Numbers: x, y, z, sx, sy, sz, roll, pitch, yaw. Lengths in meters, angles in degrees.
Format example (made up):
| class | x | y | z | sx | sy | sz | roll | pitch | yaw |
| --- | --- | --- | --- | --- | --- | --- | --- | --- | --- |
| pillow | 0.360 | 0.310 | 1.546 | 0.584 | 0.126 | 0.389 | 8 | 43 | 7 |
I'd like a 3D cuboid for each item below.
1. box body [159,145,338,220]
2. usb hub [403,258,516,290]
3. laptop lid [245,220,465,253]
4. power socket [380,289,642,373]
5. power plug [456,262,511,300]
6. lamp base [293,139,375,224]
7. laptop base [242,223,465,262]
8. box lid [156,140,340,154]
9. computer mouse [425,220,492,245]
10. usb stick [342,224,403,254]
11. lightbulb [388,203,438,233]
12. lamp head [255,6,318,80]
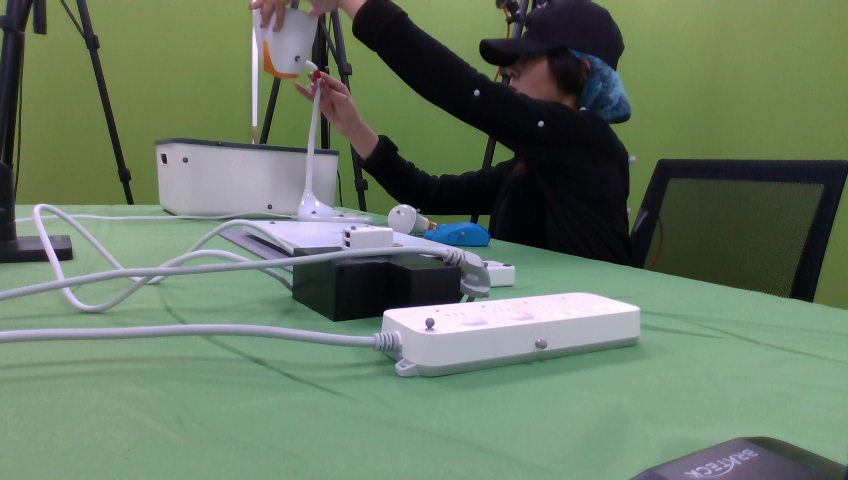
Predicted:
| class | x | y | z | sx | sy | sz | roll | pitch | yaw |
| --- | --- | --- | --- | --- | --- | --- | --- | --- | --- |
| box body | -0.410 | -0.139 | 1.414 | 0.366 | 0.160 | 0.253 | -3 | 8 | -33 |
| usb hub | 0.042 | 0.038 | 0.690 | 0.126 | 0.025 | 0.049 | -2 | 10 | -30 |
| laptop lid | -0.124 | -0.009 | 0.945 | 0.243 | 0.013 | 0.355 | 1 | 7 | -29 |
| power socket | 0.072 | 0.064 | 0.461 | 0.228 | 0.032 | 0.072 | -2 | 8 | -30 |
| power plug | 0.051 | 0.050 | 0.543 | 0.035 | 0.052 | 0.072 | 7 | 37 | -20 |
| lamp base | -0.193 | -0.121 | 1.257 | 0.179 | 0.180 | 0.161 | 0 | 6 | 8 |
| laptop base | -0.126 | 0.003 | 0.946 | 0.237 | 0.023 | 0.352 | 2 | 6 | -31 |
| box lid | -0.409 | -0.213 | 1.404 | 0.373 | 0.015 | 0.262 | -2 | 8 | -32 |
| computer mouse | 0.060 | -0.013 | 1.060 | 0.117 | 0.041 | 0.062 | -2 | 10 | -6 |
| usb stick | -0.046 | -0.001 | 0.567 | 0.059 | 0.027 | 0.021 | 0 | 5 | -32 |
| lightbulb | -0.017 | -0.034 | 1.161 | 0.108 | 0.059 | 0.059 | 16 | 0 | -27 |
| lamp head | -0.253 | -0.356 | 1.106 | 0.112 | 0.123 | 0.112 | 5 | 17 | -1 |
